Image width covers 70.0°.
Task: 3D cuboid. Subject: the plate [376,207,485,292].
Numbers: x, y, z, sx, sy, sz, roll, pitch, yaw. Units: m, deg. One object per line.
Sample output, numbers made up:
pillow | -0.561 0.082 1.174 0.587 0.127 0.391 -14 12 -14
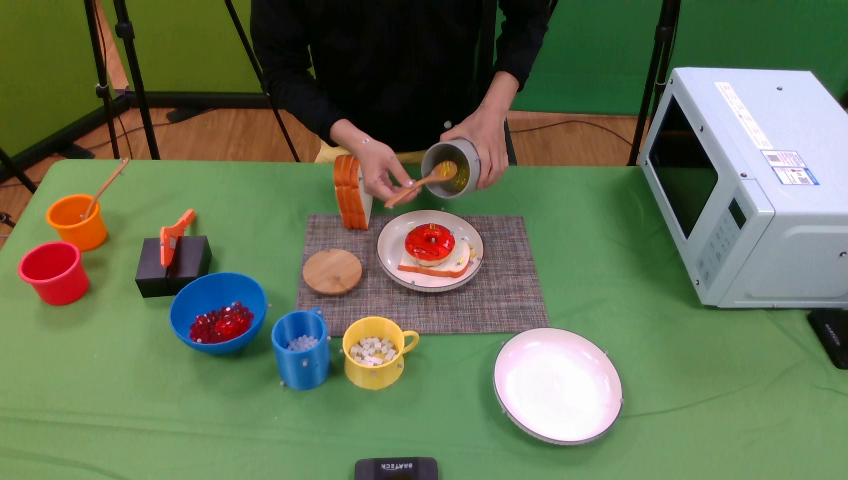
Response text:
plate | 0.012 0.021 1.159 0.209 0.038 0.208 2 47 -2

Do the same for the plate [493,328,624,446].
plate | 0.213 0.236 0.974 0.208 0.039 0.206 2 46 -2

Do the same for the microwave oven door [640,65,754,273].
microwave oven door | 0.522 -0.147 1.193 0.039 0.245 0.353 0 47 -3

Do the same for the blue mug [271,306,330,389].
blue mug | -0.188 0.163 0.969 0.082 0.106 0.116 15 47 10

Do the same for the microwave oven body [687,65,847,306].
microwave oven body | 0.669 -0.111 1.176 0.326 0.261 0.439 0 46 -3

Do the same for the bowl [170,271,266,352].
bowl | -0.333 0.132 1.006 0.151 0.077 0.150 2 46 -2

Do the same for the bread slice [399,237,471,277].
bread slice | 0.026 0.024 1.161 0.131 0.019 0.104 7 47 8

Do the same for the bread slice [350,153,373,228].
bread slice | -0.124 -0.104 1.207 0.018 0.135 0.106 -1 48 7

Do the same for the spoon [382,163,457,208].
spoon | -0.007 -0.096 1.041 0.041 0.022 0.194 32 39 25

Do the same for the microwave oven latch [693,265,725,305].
microwave oven latch | 0.523 0.081 1.115 0.030 0.029 0.078 2 46 -1

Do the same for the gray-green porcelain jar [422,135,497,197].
gray-green porcelain jar | 0.072 -0.142 1.145 0.105 0.106 0.126 29 26 22

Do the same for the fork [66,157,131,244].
fork | -0.608 -0.074 1.132 0.207 0.019 0.028 -52 49 10

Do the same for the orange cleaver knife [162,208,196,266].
orange cleaver knife | -0.454 -0.010 1.129 0.012 0.077 0.210 -1 17 -6

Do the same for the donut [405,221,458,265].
donut | 0.014 0.004 1.136 0.099 0.048 0.098 0 46 0

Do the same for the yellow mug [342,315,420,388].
yellow mug | -0.068 0.177 0.990 0.131 0.064 0.099 -15 50 -19

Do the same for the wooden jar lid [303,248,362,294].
wooden jar lid | -0.169 0.059 1.122 0.108 0.021 0.107 2 45 -2
